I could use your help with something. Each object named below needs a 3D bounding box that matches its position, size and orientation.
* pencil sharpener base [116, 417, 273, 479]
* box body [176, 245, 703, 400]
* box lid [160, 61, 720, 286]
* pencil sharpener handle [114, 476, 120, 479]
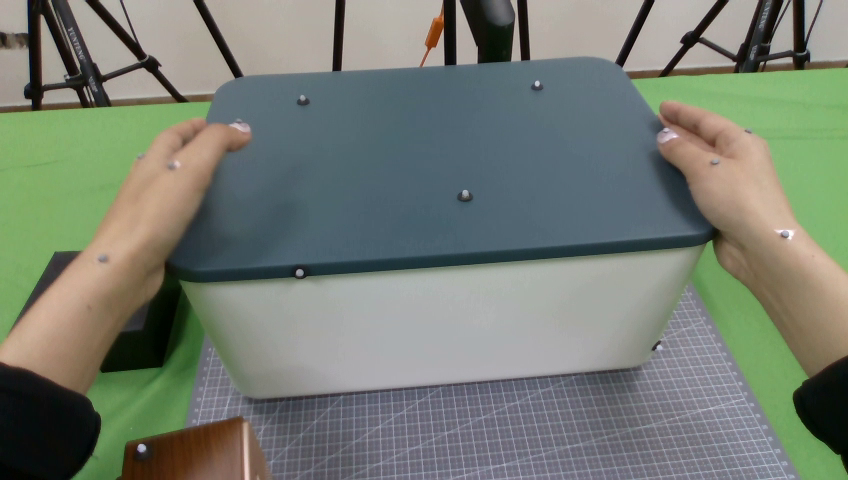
[{"bbox_3d":[-0.134,0.167,0.368,0.077,0.108,0.060,-10,44,-9],"label":"pencil sharpener base"},{"bbox_3d":[0.008,-0.014,0.524,0.364,0.162,0.251,-4,43,-4],"label":"box body"},{"bbox_3d":[0.005,-0.070,0.473,0.372,0.015,0.260,-4,41,-3],"label":"box lid"},{"bbox_3d":[-0.184,0.166,0.351,0.031,0.068,0.035,-10,46,-9],"label":"pencil sharpener handle"}]
